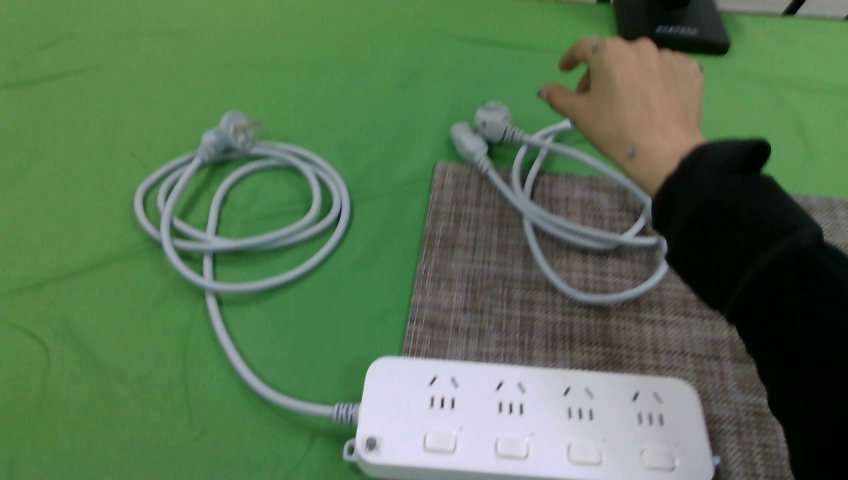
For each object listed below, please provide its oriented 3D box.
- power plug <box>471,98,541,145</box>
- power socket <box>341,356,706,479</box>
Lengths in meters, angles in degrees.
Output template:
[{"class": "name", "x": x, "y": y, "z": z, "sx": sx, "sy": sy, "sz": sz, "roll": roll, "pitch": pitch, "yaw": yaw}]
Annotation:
[{"class": "power plug", "x": 0.077, "y": -0.105, "z": 0.571, "sx": 0.072, "sy": 0.035, "sz": 0.052, "roll": 36, "pitch": 33, "yaw": 6}, {"class": "power socket", "x": 0.063, "y": 0.116, "z": 0.380, "sx": 0.227, "sy": 0.033, "sz": 0.071, "roll": 3, "pitch": 50, "yaw": 3}]
